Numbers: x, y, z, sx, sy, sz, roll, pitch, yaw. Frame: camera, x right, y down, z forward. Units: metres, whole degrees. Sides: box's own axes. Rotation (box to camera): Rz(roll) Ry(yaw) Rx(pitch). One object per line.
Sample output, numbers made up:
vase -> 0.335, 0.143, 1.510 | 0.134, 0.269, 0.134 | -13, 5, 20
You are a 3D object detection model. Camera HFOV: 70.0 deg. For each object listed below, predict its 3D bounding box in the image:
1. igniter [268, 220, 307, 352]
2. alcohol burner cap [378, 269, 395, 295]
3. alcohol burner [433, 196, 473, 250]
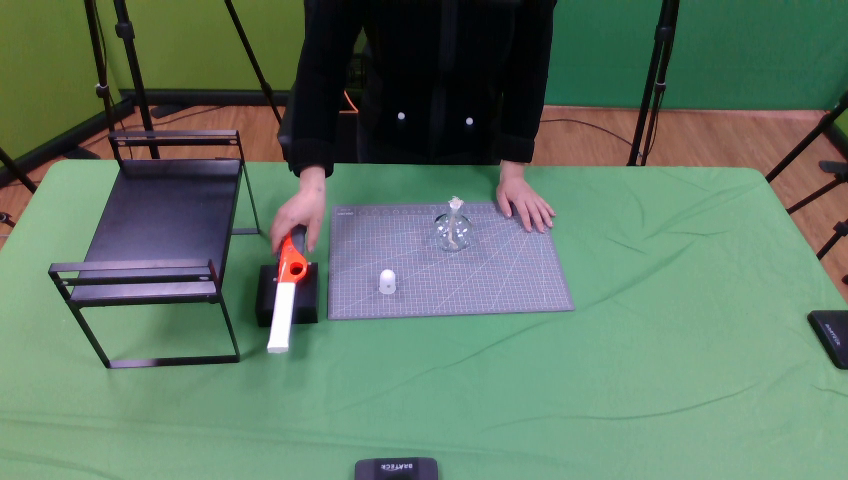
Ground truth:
igniter -> -0.235, 0.068, 1.045 | 0.057, 0.025, 0.274 | 1, 49, -4
alcohol burner cap -> -0.068, 0.074, 1.103 | 0.034, 0.048, 0.033 | 3, 45, -3
alcohol burner -> 0.058, -0.038, 1.169 | 0.078, 0.119, 0.077 | 3, 45, -3
